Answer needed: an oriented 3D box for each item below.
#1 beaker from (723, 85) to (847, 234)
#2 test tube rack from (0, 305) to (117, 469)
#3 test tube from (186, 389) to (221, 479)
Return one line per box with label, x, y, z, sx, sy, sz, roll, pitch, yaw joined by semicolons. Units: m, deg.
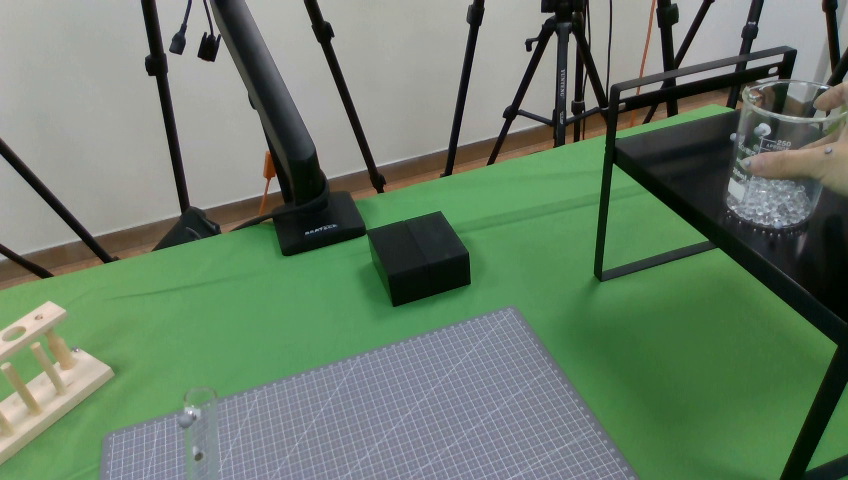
beaker;0.282;-0.063;0.483;0.074;0.101;0.083;-20;37;-18
test tube rack;-0.437;0.175;0.584;0.066;0.086;0.242;17;42;29
test tube;-0.116;0.142;0.319;0.017;0.151;0.017;7;24;-3
